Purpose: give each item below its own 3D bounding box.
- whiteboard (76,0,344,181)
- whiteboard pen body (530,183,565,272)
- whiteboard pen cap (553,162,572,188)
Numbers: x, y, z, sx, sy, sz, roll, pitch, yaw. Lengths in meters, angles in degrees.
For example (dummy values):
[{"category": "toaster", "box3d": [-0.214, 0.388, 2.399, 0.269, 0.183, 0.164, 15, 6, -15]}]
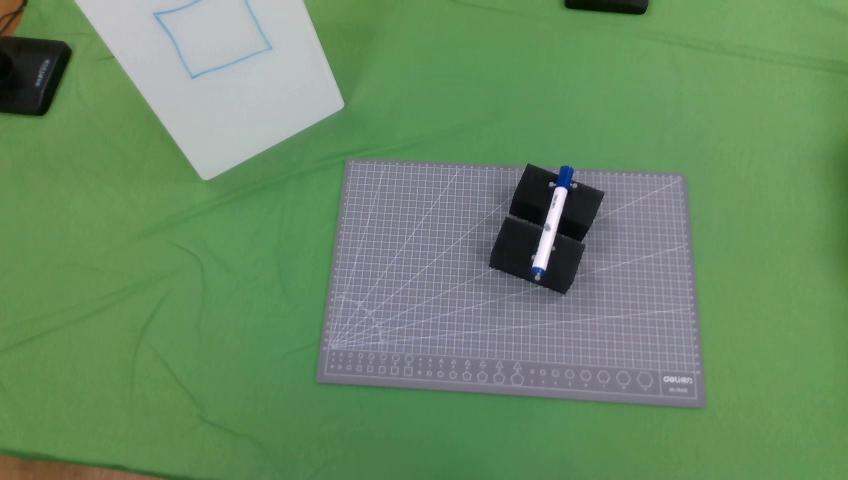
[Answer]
[{"category": "whiteboard", "box3d": [-0.265, -0.268, 0.748, 0.217, 0.309, 0.142, -31, 52, -9]}, {"category": "whiteboard pen body", "box3d": [0.148, -0.026, 0.710, 0.017, 0.017, 0.140, 17, 68, 8]}, {"category": "whiteboard pen cap", "box3d": [0.167, -0.077, 0.731, 0.018, 0.018, 0.033, 17, 68, 8]}]
